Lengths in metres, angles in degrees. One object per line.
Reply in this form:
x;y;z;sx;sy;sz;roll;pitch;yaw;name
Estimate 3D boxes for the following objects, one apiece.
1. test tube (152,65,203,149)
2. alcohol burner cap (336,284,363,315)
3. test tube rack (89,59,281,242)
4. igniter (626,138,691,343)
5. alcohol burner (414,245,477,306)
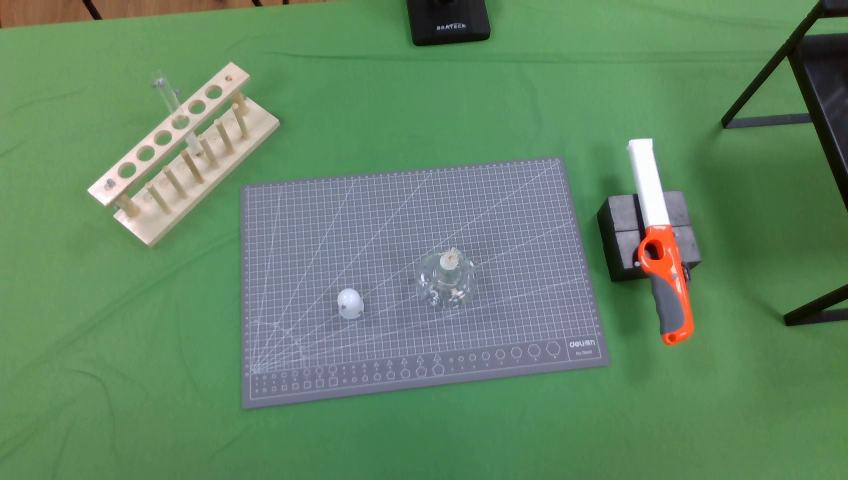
-0.305;-0.161;0.757;0.017;0.151;0.017;1;63;-1;test tube
-0.093;0.072;0.750;0.034;0.048;0.033;0;68;0;alcohol burner cap
-0.303;-0.118;0.793;0.066;0.086;0.242;37;71;12;test tube rack
0.291;-0.007;0.758;0.057;0.025;0.274;-2;67;0;igniter
0.027;0.037;0.730;0.078;0.120;0.077;1;66;-3;alcohol burner
